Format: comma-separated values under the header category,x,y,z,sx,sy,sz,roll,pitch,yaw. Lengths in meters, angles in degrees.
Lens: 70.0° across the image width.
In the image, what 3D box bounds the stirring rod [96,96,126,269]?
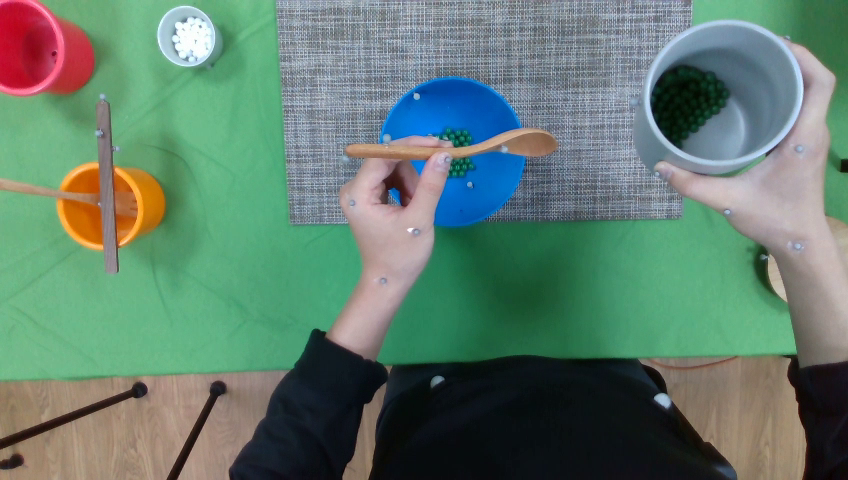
category,x,y,z,sx,sy,sz,roll,pitch,yaw
stirring rod,-0.320,-0.057,0.619,0.014,0.006,0.176,0,100,1

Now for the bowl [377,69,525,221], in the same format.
category,x,y,z,sx,sy,sz,roll,pitch,yaw
bowl,0.028,-0.099,0.645,0.151,0.076,0.152,0,100,1

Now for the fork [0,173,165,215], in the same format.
category,x,y,z,sx,sy,sz,roll,pitch,yaw
fork,-0.374,-0.052,0.623,0.209,0.018,0.028,10,105,-45

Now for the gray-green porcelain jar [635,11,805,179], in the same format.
category,x,y,z,sx,sy,sz,roll,pitch,yaw
gray-green porcelain jar,0.226,-0.106,0.484,0.105,0.127,0.105,-1,87,16

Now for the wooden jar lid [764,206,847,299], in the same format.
category,x,y,z,sx,sy,sz,roll,pitch,yaw
wooden jar lid,0.443,0.014,0.696,0.108,0.020,0.108,0,100,1

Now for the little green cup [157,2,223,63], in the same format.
category,x,y,z,sx,sy,sz,roll,pitch,yaw
little green cup,-0.248,-0.219,0.649,0.061,0.038,0.062,0,100,1

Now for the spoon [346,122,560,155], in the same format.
category,x,y,z,sx,sy,sz,roll,pitch,yaw
spoon,0.029,-0.076,0.468,0.194,0.041,0.021,-11,80,-33
